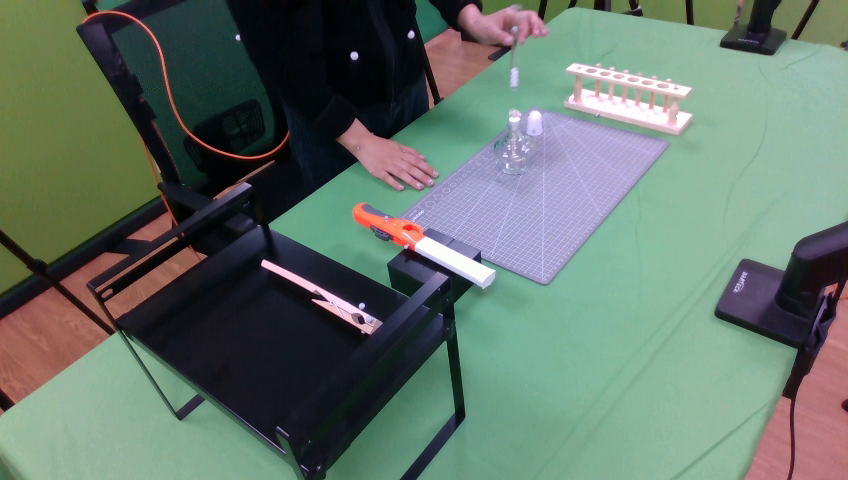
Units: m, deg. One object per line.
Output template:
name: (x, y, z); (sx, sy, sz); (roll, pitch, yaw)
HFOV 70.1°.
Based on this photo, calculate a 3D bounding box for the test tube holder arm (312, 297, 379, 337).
test tube holder arm: (-0.082, 0.075, 0.622); (0.087, 0.015, 0.010); (26, 81, 33)

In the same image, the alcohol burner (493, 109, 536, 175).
alcohol burner: (0.163, -0.179, 1.087); (0.078, 0.119, 0.077); (-5, 38, 4)

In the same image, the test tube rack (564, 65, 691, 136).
test tube rack: (0.404, -0.288, 1.204); (0.240, 0.085, 0.067); (24, 50, 32)

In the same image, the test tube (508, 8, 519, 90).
test tube: (0.165, -0.350, 1.116); (0.017, 0.151, 0.017); (-2, 35, 2)

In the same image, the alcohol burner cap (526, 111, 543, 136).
alcohol burner cap: (0.219, -0.232, 1.196); (0.034, 0.048, 0.033); (-4, 40, 4)

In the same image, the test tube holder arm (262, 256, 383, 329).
test tube holder arm: (-0.113, 0.054, 0.647); (0.177, 0.015, 0.013); (26, 80, 33)

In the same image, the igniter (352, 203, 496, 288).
igniter: (-0.011, 0.002, 0.899); (0.274, 0.025, 0.057); (27, 44, 33)
